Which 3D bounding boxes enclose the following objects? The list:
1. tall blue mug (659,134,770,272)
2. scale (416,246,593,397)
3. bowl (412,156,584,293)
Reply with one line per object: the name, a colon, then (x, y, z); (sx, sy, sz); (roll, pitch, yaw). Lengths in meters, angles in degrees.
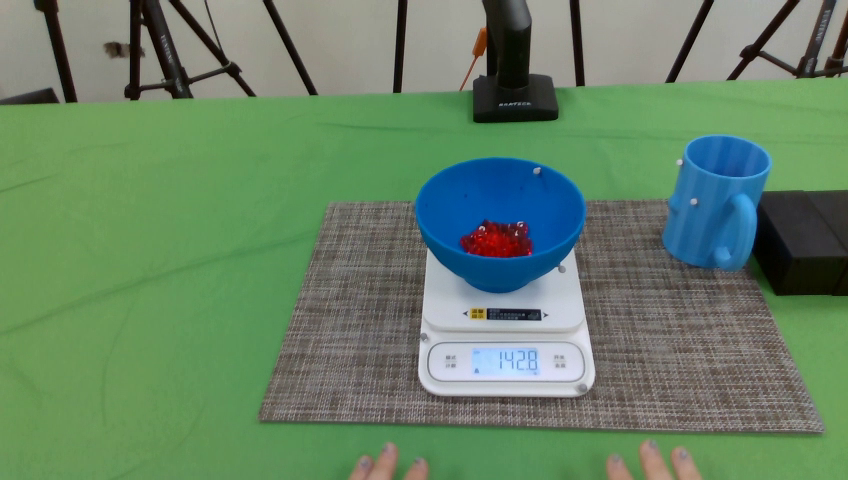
tall blue mug: (0.289, -0.029, 0.585); (0.078, 0.109, 0.106); (-21, 43, -19)
scale: (0.071, 0.056, 0.567); (0.148, 0.032, 0.199); (-1, 41, 5)
bowl: (0.066, -0.004, 0.555); (0.151, 0.077, 0.150); (-2, 41, 2)
